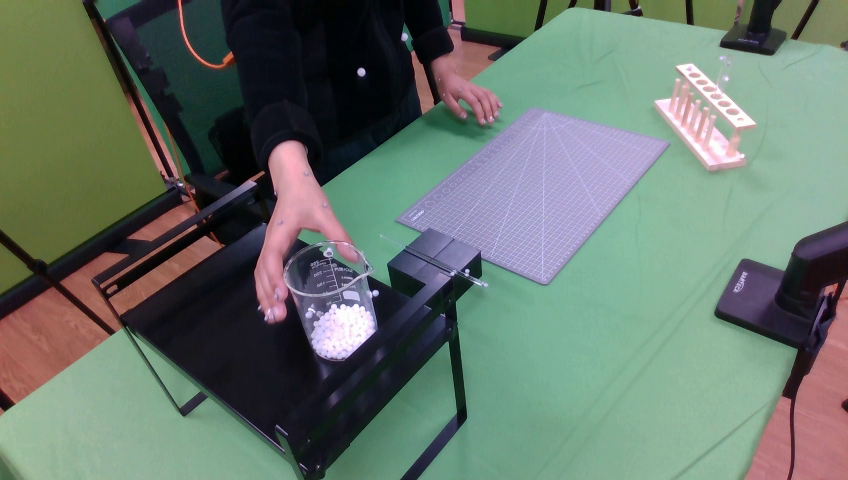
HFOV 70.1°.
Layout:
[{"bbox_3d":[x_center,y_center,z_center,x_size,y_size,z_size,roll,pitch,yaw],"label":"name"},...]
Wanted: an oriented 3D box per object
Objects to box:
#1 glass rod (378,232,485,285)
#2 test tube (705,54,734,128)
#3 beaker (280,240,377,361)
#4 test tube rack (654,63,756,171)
[{"bbox_3d":[0.006,0.024,0.878,0.198,0.008,0.008,25,50,32],"label":"glass rod"},{"bbox_3d":[0.523,-0.260,1.073,0.017,0.151,0.017,-4,46,5],"label":"test tube"},{"bbox_3d":[-0.084,0.061,0.580,0.084,0.101,0.073,-3,42,5],"label":"beaker"},{"bbox_3d":[0.510,-0.233,1.120,0.067,0.085,0.241,-8,41,-1],"label":"test tube rack"}]
